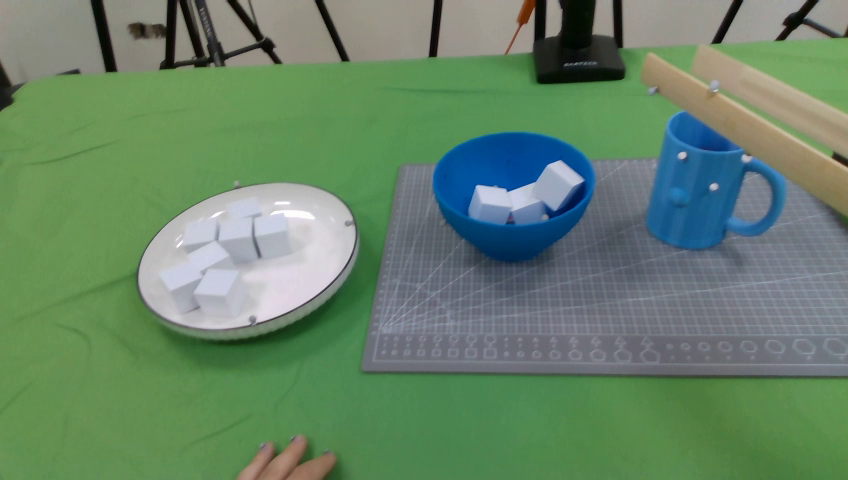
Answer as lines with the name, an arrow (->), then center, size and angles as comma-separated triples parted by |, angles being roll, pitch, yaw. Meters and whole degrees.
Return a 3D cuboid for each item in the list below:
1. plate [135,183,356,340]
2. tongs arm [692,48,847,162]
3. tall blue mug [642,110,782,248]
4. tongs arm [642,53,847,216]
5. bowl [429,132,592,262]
plate -> -0.167, 0.020, 0.590 | 0.209, 0.038, 0.207 | -3, 42, 3
tongs arm -> 0.295, -0.033, 0.361 | 0.028, 0.028, 0.383 | -7, 40, -23
tall blue mug -> 0.268, -0.054, 0.565 | 0.107, 0.109, 0.077 | 7, 43, 15
tongs arm -> 0.264, -0.026, 0.349 | 0.051, 0.027, 0.380 | -9, 40, -20
bowl -> 0.082, -0.032, 0.585 | 0.151, 0.077, 0.150 | -3, 41, 3
